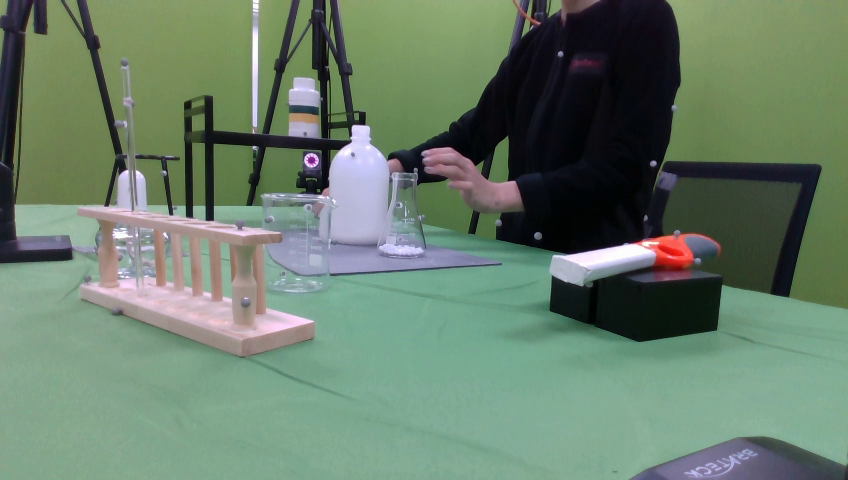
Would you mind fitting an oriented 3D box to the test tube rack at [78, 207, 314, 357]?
[{"bbox_3d":[-0.197,0.023,0.499,0.241,0.085,0.067,8,9,37],"label":"test tube rack"}]

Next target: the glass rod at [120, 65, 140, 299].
[{"bbox_3d":[-0.249,-0.047,0.513,0.008,0.199,0.008,-1,4,0],"label":"glass rod"}]

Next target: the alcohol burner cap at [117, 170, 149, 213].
[{"bbox_3d":[-0.320,-0.052,0.661,0.034,0.048,0.034,-3,0,0],"label":"alcohol burner cap"}]

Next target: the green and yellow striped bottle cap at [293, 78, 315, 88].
[{"bbox_3d":[-0.248,-0.324,1.256,0.045,0.020,0.045,4,8,0],"label":"green and yellow striped bottle cap"}]

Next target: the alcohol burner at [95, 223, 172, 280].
[{"bbox_3d":[-0.320,-0.017,0.667,0.078,0.119,0.078,0,7,0],"label":"alcohol burner"}]

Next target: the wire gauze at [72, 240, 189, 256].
[{"bbox_3d":[-0.399,0.013,0.820,0.126,0.011,0.121,-3,8,-37],"label":"wire gauze"}]

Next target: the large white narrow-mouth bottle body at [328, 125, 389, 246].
[{"bbox_3d":[-0.106,-0.092,0.996,0.102,0.194,0.102,3,8,0],"label":"large white narrow-mouth bottle body"}]

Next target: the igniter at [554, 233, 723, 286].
[{"bbox_3d":[0.214,0.015,0.570,0.278,0.025,0.057,-5,22,-44],"label":"igniter"}]

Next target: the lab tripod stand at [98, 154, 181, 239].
[{"bbox_3d":[-0.427,-0.066,0.942,0.148,0.131,0.148,1,6,0],"label":"lab tripod stand"}]

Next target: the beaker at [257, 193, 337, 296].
[{"bbox_3d":[-0.130,0.003,0.628,0.084,0.100,0.074,5,8,15],"label":"beaker"}]

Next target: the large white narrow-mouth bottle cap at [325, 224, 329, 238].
[{"bbox_3d":[-0.160,-0.016,1.090,0.038,0.024,0.037,3,9,0],"label":"large white narrow-mouth bottle cap"}]

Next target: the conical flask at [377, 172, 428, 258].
[{"bbox_3d":[-0.029,-0.037,0.875,0.075,0.122,0.075,2,7,0],"label":"conical flask"}]

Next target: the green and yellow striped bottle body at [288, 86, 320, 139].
[{"bbox_3d":[-0.250,-0.272,1.261,0.063,0.119,0.063,3,7,0],"label":"green and yellow striped bottle body"}]
